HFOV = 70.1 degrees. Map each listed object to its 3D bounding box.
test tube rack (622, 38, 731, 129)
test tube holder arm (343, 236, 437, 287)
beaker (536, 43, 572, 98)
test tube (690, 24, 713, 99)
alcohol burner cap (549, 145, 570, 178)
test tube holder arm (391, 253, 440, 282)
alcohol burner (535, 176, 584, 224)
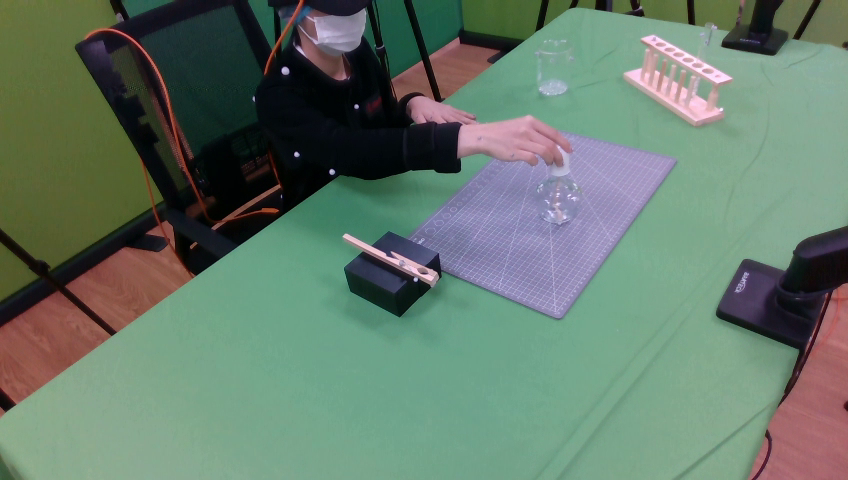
[{"bbox_3d":[0.506,-0.325,1.234,0.067,0.085,0.240,-18,41,-11],"label":"test tube rack"},{"bbox_3d":[-0.054,0.028,0.879,0.177,0.015,0.013,22,56,32],"label":"test tube holder arm"},{"bbox_3d":[0.280,-0.368,1.311,0.074,0.101,0.084,4,41,14],"label":"beaker"},{"bbox_3d":[0.534,-0.342,1.173,0.017,0.151,0.017,-3,41,3],"label":"test tube"},{"bbox_3d":[0.209,-0.124,0.935,0.034,0.048,0.033,-5,38,4],"label":"alcohol burner cap"},{"bbox_3d":[-0.015,0.039,0.858,0.087,0.015,0.010,22,57,32],"label":"test tube holder arm"},{"bbox_3d":[0.217,-0.085,0.967,0.078,0.119,0.077,-3,41,3],"label":"alcohol burner"}]
